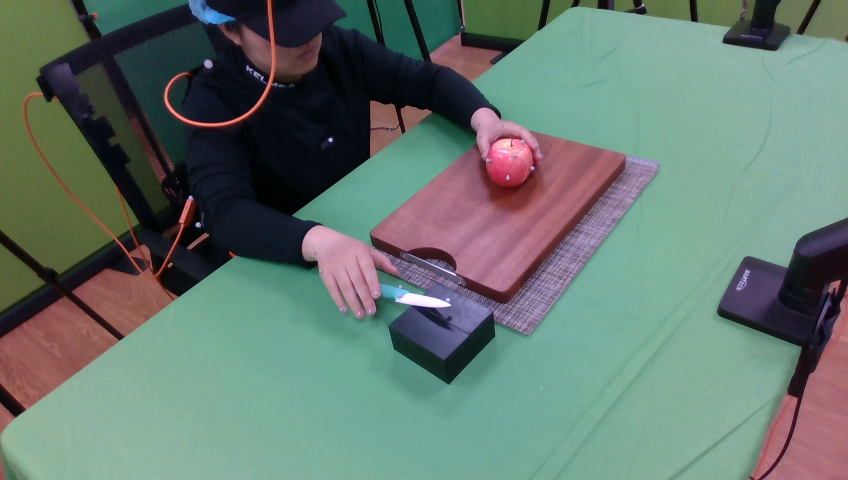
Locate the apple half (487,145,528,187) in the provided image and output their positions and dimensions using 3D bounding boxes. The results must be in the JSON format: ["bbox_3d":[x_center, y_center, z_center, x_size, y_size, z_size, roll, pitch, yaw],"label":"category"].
[{"bbox_3d":[0.134,-0.117,1.014,0.080,0.081,0.033,18,43,29],"label":"apple half"}]

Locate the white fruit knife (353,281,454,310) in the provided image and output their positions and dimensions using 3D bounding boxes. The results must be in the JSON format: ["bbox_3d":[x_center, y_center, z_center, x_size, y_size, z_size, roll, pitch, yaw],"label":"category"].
[{"bbox_3d":[-0.031,0.079,0.855,0.205,0.016,0.027,6,39,47],"label":"white fruit knife"}]

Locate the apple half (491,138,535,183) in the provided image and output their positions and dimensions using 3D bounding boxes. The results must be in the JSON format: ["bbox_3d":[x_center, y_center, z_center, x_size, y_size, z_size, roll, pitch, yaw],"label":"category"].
[{"bbox_3d":[0.156,-0.139,1.038,0.080,0.075,0.053,15,42,32],"label":"apple half"}]
